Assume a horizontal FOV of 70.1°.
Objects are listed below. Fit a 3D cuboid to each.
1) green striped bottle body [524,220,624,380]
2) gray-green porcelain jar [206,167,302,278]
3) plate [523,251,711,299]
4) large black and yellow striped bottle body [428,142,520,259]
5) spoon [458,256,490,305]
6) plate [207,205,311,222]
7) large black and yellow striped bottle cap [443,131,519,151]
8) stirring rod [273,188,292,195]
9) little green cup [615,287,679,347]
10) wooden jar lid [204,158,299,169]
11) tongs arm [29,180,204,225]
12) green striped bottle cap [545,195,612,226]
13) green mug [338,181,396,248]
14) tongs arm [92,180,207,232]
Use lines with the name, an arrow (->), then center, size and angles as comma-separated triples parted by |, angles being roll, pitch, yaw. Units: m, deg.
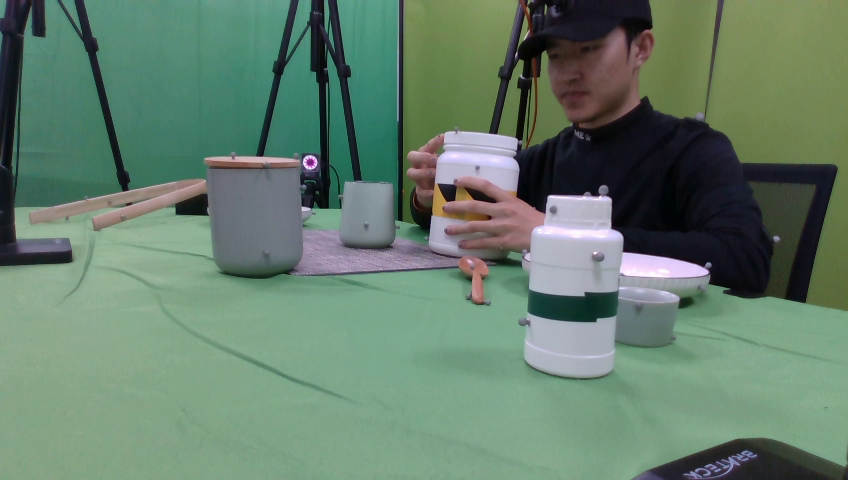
green striped bottle body -> 0.104, 0.031, 0.421 | 0.063, 0.119, 0.063 | 2, 8, 0
gray-green porcelain jar -> -0.201, -0.024, 0.724 | 0.106, 0.126, 0.106 | -1, 9, 1
plate -> 0.219, 0.041, 0.706 | 0.209, 0.038, 0.209 | 2, 7, 0
large black and yellow striped bottle body -> 0.079, -0.069, 0.938 | 0.131, 0.184, 0.130 | 5, 5, 0
spoon -> 0.059, 0.044, 0.695 | 0.041, 0.021, 0.194 | 19, 7, 0
plate -> -0.342, -0.050, 1.259 | 0.208, 0.039, 0.207 | 3, 8, 0
large black and yellow striped bottle cap -> 0.087, -0.152, 0.930 | 0.115, 0.019, 0.115 | 6, 7, 0
stirring rod -> -0.353, -0.122, 1.518 | 0.006, 0.014, 0.176 | 1, 7, 1
little green cup -> 0.180, 0.064, 0.506 | 0.061, 0.038, 0.061 | 2, 8, 0
wooden jar lid -> -0.203, -0.086, 0.714 | 0.108, 0.020, 0.108 | 3, 11, 0
tongs arm -> -0.609, -0.083, 1.245 | 0.050, 0.026, 0.386 | 5, 16, 23
green striped bottle cap -> 0.106, -0.020, 0.414 | 0.044, 0.020, 0.044 | 2, 4, 0
green mug -> -0.097, -0.044, 0.995 | 0.093, 0.105, 0.125 | -1, 8, -21
tongs arm -> -0.534, -0.076, 1.221 | 0.028, 0.028, 0.388 | -2, 15, 12
